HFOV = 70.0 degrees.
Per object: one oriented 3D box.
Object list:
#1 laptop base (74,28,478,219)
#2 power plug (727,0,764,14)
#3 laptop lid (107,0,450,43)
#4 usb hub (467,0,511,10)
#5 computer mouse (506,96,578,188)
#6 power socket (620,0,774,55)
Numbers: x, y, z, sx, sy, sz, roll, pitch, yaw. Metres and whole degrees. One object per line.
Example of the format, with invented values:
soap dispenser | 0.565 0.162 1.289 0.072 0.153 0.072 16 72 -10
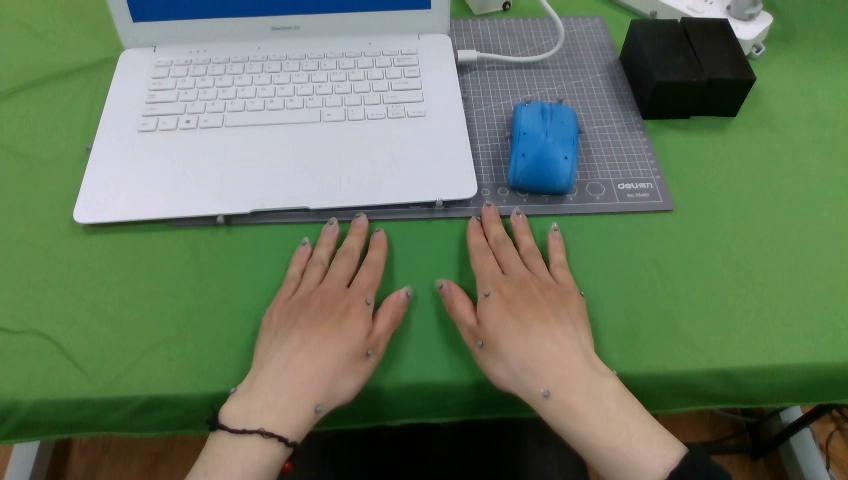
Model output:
laptop base | -0.136 -0.122 0.596 0.355 0.023 0.233 -4 58 -4
power plug | 0.375 -0.275 0.682 0.072 0.053 0.035 -30 59 -19
laptop lid | -0.149 -0.307 0.585 0.357 0.244 0.013 -5 41 -3
usb hub | 0.060 -0.332 0.747 0.049 0.025 0.124 -16 56 -12
computer mouse | 0.112 -0.099 0.570 0.063 0.041 0.116 8 50 7
power socket | 0.301 -0.288 0.718 0.225 0.033 0.072 39 61 24
